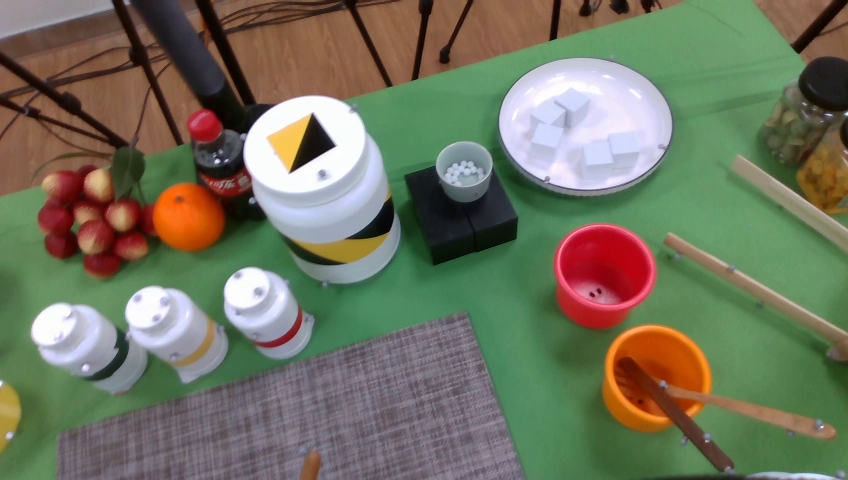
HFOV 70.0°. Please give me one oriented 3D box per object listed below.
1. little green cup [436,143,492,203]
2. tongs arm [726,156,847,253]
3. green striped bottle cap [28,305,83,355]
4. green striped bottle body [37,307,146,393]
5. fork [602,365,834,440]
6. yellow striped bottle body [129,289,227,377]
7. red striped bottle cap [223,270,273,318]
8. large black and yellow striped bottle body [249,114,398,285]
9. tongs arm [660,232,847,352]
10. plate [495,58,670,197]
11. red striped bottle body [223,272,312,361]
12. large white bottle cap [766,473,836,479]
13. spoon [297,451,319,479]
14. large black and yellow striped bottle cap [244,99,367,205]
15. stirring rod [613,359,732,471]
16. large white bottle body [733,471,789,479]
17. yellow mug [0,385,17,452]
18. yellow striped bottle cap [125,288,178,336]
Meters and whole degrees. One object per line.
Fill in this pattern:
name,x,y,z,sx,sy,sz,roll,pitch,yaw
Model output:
little green cup,0.044,-0.072,0.668,0.061,0.039,0.061,-1,58,3
tongs arm,0.474,0.036,0.628,0.028,0.028,0.384,-34,63,-20
green striped bottle cap,-0.347,0.084,0.570,0.044,0.020,0.044,-1,62,2
green striped bottle body,-0.340,0.110,0.616,0.063,0.120,0.062,-2,61,4
fork,0.241,0.139,0.528,0.028,0.019,0.206,-54,25,-20
yellow striped bottle body,-0.253,0.092,0.617,0.063,0.121,0.062,-3,60,5
red striped bottle cap,-0.166,0.050,0.572,0.044,0.018,0.044,-1,59,1
large black and yellow striped bottle body,-0.103,-0.045,0.642,0.131,0.185,0.129,-2,61,5
tongs arm,0.422,0.085,0.604,0.382,0.027,0.050,35,67,21
plate,0.192,-0.136,0.748,0.209,0.038,0.207,-2,62,4
red striped bottle body,-0.160,0.076,0.618,0.063,0.121,0.062,-4,60,7
large white bottle cap,0.245,0.204,0.373,0.115,0.018,0.114,-2,60,4
spoon,-0.104,0.236,0.478,0.041,0.195,0.021,29,33,21
large black and yellow striped bottle cap,-0.111,-0.085,0.568,0.115,0.019,0.114,-3,60,5
stirring rod,0.211,0.147,0.534,0.014,0.006,0.175,-14,17,-5
large white bottle body,0.253,0.245,0.447,0.130,0.186,0.129,-2,61,5
yellow mug,-0.486,0.199,0.612,0.100,0.064,0.129,-7,61,0
yellow striped bottle cap,-0.257,0.068,0.572,0.044,0.019,0.044,-2,61,3
